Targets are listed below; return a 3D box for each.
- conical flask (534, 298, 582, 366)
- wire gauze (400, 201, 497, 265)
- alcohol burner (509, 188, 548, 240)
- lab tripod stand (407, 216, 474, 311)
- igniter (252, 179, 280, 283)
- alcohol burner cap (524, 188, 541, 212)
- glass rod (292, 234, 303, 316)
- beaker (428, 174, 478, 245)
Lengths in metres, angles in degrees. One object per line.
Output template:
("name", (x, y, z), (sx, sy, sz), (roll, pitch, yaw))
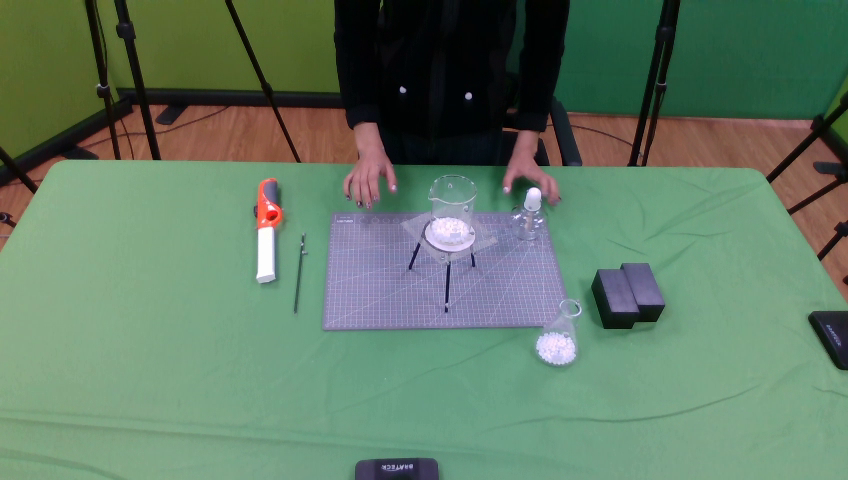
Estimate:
("conical flask", (0.229, 0.149, 1.005), (0.075, 0.122, 0.075), (2, 46, -2))
("wire gauze", (0.042, -0.013, 1.043), (0.125, 0.011, 0.120), (-24, 49, -23))
("alcohol burner", (0.211, -0.057, 1.204), (0.078, 0.120, 0.077), (1, 47, -1))
("lab tripod stand", (0.039, 0.030, 1.092), (0.148, 0.132, 0.147), (2, 44, -2))
("igniter", (-0.312, -0.027, 1.197), (0.057, 0.025, 0.274), (-12, 47, -1))
("alcohol burner cap", (0.212, -0.081, 1.177), (0.034, 0.048, 0.033), (-2, 54, 2))
("glass rod", (-0.236, 0.060, 1.134), (0.008, 0.008, 0.198), (-1, 46, -4))
("beaker", (0.043, -0.047, 1.009), (0.084, 0.101, 0.073), (-16, 48, -19))
